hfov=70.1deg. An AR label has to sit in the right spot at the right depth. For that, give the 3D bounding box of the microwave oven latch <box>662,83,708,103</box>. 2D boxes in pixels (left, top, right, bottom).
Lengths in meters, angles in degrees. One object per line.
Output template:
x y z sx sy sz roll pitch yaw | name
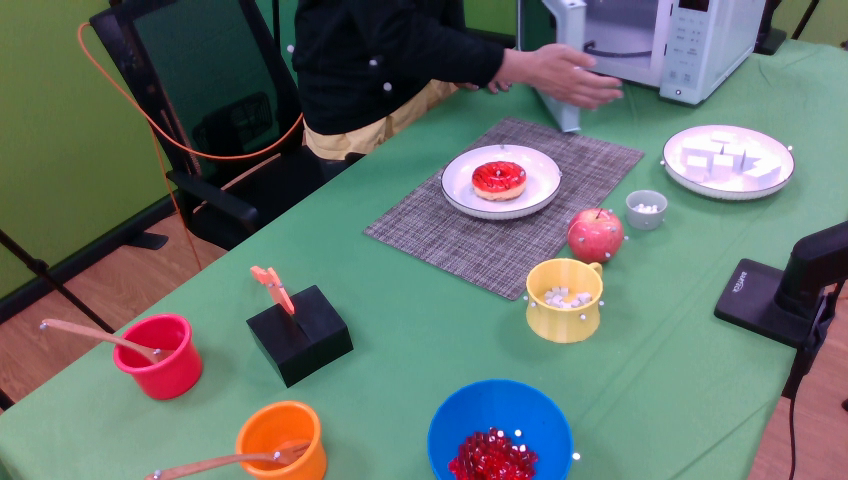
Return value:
0.518 -0.296 1.204 0.078 0.029 0.030 28 52 36 | microwave oven latch

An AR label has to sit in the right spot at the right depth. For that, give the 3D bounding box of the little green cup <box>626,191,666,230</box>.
0.352 -0.046 0.963 0.061 0.039 0.061 -4 40 4 | little green cup

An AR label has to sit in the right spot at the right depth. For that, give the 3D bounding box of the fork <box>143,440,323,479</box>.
-0.190 0.231 0.631 0.028 0.018 0.209 38 14 37 | fork

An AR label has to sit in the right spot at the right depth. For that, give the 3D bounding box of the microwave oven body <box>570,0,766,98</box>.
0.472 -0.513 1.317 0.438 0.261 0.327 26 51 34 | microwave oven body

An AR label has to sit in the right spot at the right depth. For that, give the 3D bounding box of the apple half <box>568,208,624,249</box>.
0.259 -0.014 0.914 0.080 0.075 0.053 0 36 15 | apple half

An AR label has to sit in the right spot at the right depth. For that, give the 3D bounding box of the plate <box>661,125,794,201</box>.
0.514 -0.128 1.035 0.207 0.039 0.206 -4 40 4 | plate

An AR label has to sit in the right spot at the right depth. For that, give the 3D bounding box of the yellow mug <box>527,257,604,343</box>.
0.202 0.072 0.825 0.131 0.064 0.099 -32 46 -27 | yellow mug

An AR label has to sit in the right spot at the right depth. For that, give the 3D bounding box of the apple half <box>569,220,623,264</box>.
0.251 0.010 0.884 0.081 0.081 0.032 3 37 12 | apple half

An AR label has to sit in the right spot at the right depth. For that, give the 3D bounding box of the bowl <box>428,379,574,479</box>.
0.082 0.233 0.644 0.151 0.077 0.150 -4 39 4 | bowl

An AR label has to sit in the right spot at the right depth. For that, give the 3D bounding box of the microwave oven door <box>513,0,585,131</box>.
0.248 -0.412 1.225 0.039 0.245 0.353 -11 40 -4 | microwave oven door

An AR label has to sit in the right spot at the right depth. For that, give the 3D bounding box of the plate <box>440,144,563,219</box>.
0.134 -0.098 1.052 0.209 0.038 0.208 -4 40 4 | plate

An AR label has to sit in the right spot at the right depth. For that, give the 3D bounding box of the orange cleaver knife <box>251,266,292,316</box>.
-0.221 0.071 0.873 0.012 0.077 0.210 -25 11 -21 | orange cleaver knife

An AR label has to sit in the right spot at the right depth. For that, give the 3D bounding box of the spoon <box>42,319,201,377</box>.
-0.385 0.135 0.779 0.195 0.021 0.041 28 36 -26 | spoon

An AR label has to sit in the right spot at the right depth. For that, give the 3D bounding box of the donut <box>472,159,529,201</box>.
0.132 -0.105 1.043 0.099 0.048 0.098 -5 38 4 | donut
